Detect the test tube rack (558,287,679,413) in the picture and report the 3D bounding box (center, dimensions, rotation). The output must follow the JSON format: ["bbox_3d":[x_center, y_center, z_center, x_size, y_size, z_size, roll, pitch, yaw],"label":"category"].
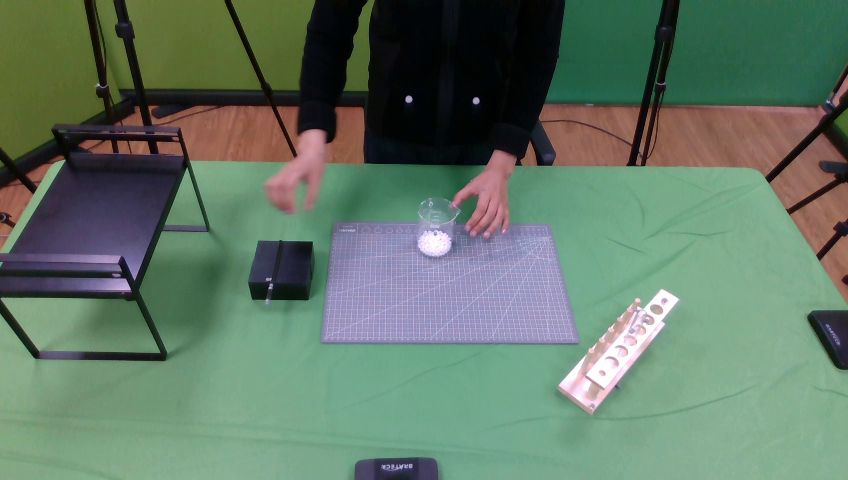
[{"bbox_3d":[0.326,0.170,1.009,0.066,0.085,0.242,36,54,26],"label":"test tube rack"}]

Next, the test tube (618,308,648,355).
[{"bbox_3d":[0.326,0.154,0.956,0.017,0.151,0.017,-1,50,1],"label":"test tube"}]

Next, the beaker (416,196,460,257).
[{"bbox_3d":[0.025,-0.023,1.160,0.084,0.101,0.073,-7,47,-11],"label":"beaker"}]

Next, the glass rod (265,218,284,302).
[{"bbox_3d":[-0.267,0.031,1.084,0.008,0.008,0.198,1,47,-3],"label":"glass rod"}]
